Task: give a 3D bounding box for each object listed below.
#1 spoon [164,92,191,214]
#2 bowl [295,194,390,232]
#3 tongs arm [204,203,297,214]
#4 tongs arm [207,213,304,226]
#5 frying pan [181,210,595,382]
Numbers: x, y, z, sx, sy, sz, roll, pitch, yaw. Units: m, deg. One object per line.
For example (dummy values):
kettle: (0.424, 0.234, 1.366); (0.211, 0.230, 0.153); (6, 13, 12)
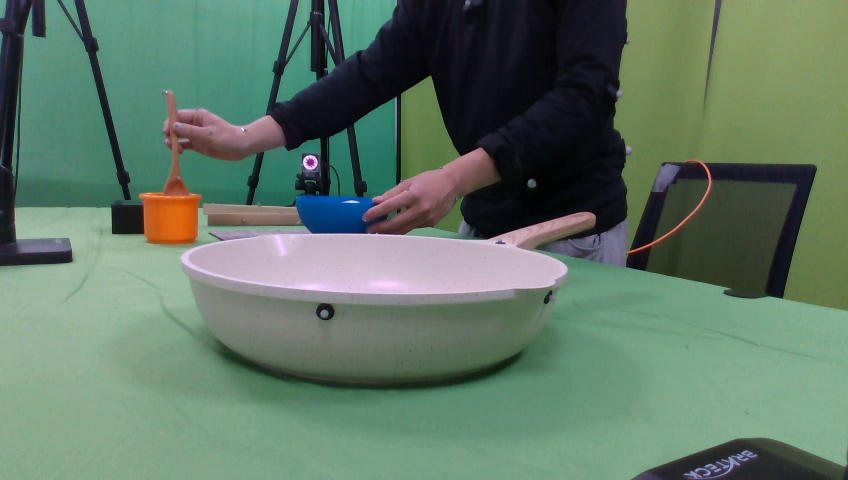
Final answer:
spoon: (-0.398, -0.138, 0.967); (0.042, 0.193, 0.021); (-4, 7, -34)
bowl: (-0.129, -0.029, 0.958); (0.151, 0.077, 0.151); (3, 7, 0)
tongs arm: (-0.295, -0.062, 1.370); (0.386, 0.026, 0.050); (1, 9, -19)
tongs arm: (-0.264, -0.046, 1.297); (0.390, 0.028, 0.028); (-2, 7, -32)
frying pan: (0.034, 0.019, 0.557); (0.305, 0.102, 0.490); (10, 19, 42)
